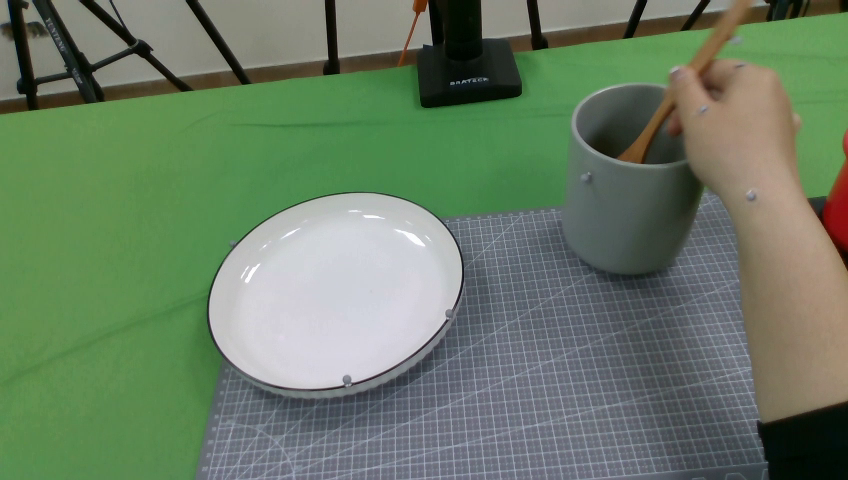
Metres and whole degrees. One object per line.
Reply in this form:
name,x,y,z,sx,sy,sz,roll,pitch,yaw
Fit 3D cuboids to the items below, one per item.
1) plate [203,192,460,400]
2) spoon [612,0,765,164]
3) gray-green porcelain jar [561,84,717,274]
plate,-0.073,0.043,0.501,0.207,0.039,0.205,-3,46,4
spoon,0.175,-0.090,0.441,0.022,0.194,0.041,6,39,-36
gray-green porcelain jar,0.166,-0.043,0.489,0.106,0.128,0.105,-4,46,5
